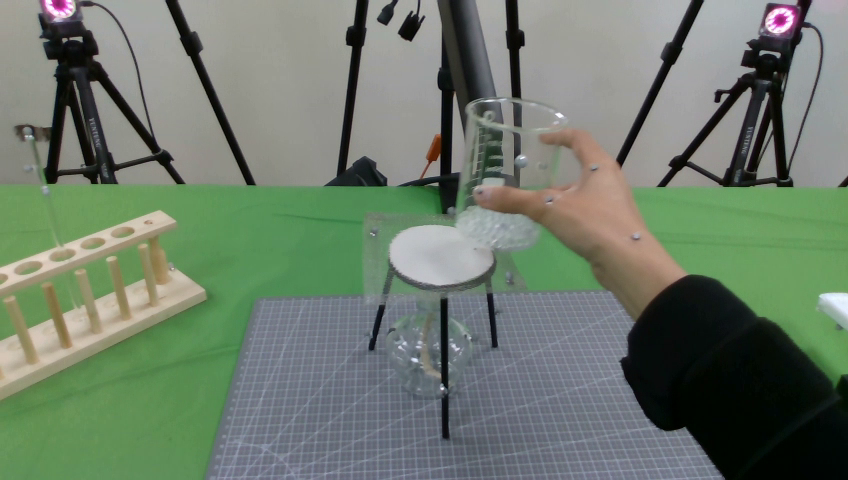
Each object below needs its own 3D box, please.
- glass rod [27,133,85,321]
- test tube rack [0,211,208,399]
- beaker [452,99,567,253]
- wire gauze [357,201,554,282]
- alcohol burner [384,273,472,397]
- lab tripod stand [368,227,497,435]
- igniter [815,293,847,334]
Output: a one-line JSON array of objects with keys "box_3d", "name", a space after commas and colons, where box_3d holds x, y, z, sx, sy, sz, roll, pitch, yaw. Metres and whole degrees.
[{"box_3d": [-0.328, -0.002, 0.543, 0.008, 0.201, 0.008, 5, 34, -3], "name": "glass rod"}, {"box_3d": [-0.336, 0.061, 0.567, 0.066, 0.086, 0.242, 26, 39, 34], "name": "test tube rack"}, {"box_3d": [0.063, -0.047, 0.459, 0.084, 0.101, 0.073, -6, 32, -20], "name": "beaker"}, {"box_3d": [0.021, 0.000, 0.478, 0.125, 0.011, 0.120, -5, 28, -26], "name": "wire gauze"}, {"box_3d": [0.005, 0.078, 0.529, 0.078, 0.120, 0.077, 3, 31, -2], "name": "alcohol burner"}, {"box_3d": [0.014, 0.069, 0.524, 0.148, 0.132, 0.147, 3, 33, -2], "name": "lab tripod stand"}, {"box_3d": [0.413, 0.124, 0.477, 0.057, 0.025, 0.274, -2, 28, -6], "name": "igniter"}]
